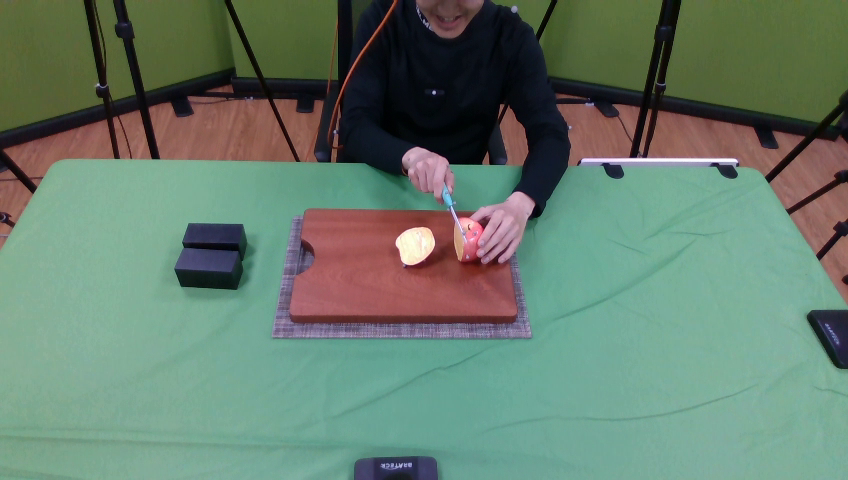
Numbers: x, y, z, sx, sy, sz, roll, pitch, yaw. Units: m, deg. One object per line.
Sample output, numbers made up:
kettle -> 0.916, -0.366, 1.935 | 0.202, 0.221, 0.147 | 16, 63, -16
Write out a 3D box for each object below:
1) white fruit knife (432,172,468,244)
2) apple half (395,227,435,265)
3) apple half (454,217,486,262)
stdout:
white fruit knife -> 0.050, -0.063, 1.124 | 0.016, 0.027, 0.206 | -17, 46, -5
apple half -> -0.011, 0.015, 1.126 | 0.081, 0.033, 0.081 | -9, 57, 15
apple half -> 0.088, 0.000, 1.126 | 0.053, 0.075, 0.080 | -3, 43, -12
